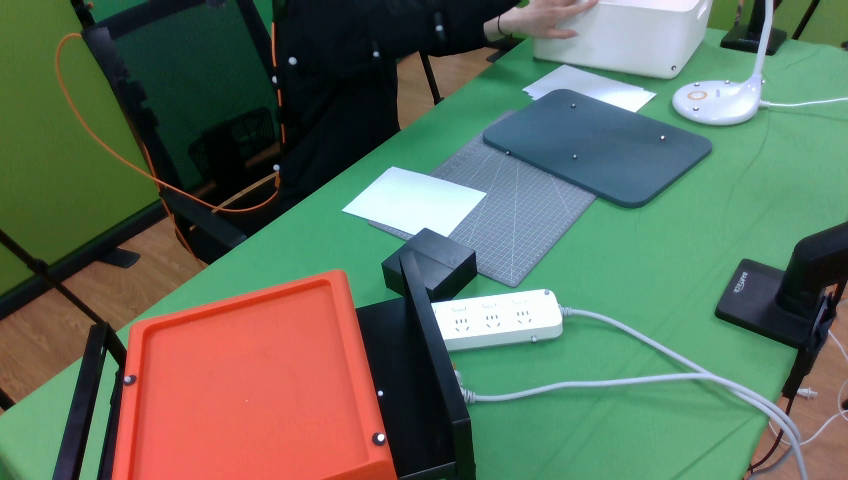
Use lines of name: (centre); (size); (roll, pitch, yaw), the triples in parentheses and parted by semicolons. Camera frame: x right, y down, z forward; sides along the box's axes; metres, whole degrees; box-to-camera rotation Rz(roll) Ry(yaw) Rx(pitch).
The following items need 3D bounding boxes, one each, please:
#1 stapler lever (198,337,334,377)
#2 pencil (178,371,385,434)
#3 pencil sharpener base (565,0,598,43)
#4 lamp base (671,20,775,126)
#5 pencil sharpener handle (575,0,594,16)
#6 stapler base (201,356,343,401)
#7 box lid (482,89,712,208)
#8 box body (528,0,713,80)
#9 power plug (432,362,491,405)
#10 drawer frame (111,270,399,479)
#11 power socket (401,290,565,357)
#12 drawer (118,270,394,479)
stapler lever: (-0.142, 0.105, 0.541); (0.118, 0.040, 0.026); (-3, 43, 4)
pencil: (-0.128, 0.141, 0.534); (0.194, 0.012, 0.012); (14, 44, 7)
pencil sharpener base: (0.387, -0.551, 1.484); (0.061, 0.107, 0.077); (13, 44, 23)
lamp base: (0.582, -0.332, 1.153); (0.179, 0.181, 0.160); (2, 41, 7)
pencil sharpener handle: (0.401, -0.594, 1.512); (0.036, 0.067, 0.030); (35, 48, 0)
stapler base: (-0.142, 0.124, 0.557); (0.130, 0.024, 0.041); (-2, 43, 3)
box lid: (0.320, -0.190, 1.156); (0.264, 0.015, 0.368); (-33, 47, -28)
box body: (0.451, -0.513, 1.398); (0.361, 0.161, 0.254); (19, 47, 28)
power plug: (0.044, 0.182, 0.759); (0.073, 0.035, 0.052); (23, 42, -19)
drawer frame: (-0.140, 0.140, 0.506); (0.202, 0.083, 0.212); (-15, 41, -9)
power socket: (0.080, 0.113, 0.821); (0.227, 0.033, 0.072); (-6, 41, 0)
drawer: (-0.141, 0.139, 0.509); (0.195, 0.073, 0.210); (-14, 41, -8)
